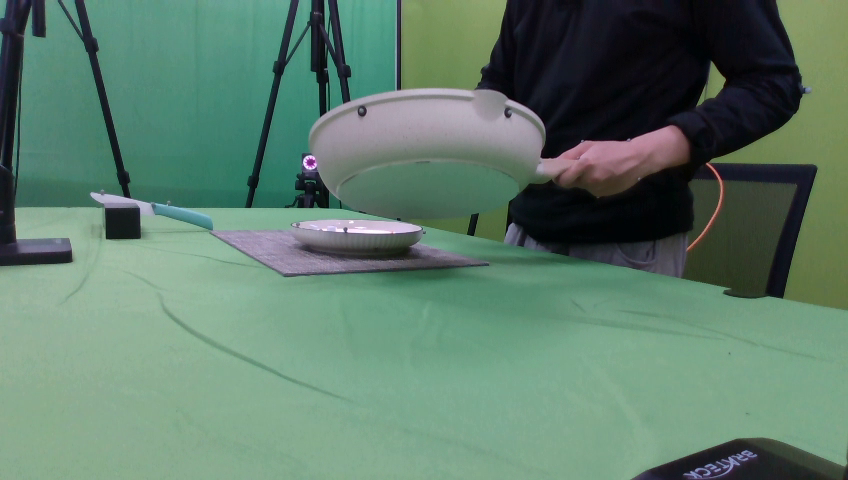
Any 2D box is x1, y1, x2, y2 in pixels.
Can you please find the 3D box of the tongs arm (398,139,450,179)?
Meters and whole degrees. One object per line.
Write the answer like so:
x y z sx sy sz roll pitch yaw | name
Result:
0.008 -0.129 0.917 0.051 0.026 0.385 -7 12 6 | tongs arm

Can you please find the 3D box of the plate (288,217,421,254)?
-0.109 -0.008 0.956 0.208 0.039 0.207 2 8 0 | plate

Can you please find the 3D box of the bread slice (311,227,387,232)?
-0.115 -0.005 0.950 0.134 0.018 0.107 4 6 -7 | bread slice

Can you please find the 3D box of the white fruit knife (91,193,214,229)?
-0.478 -0.055 1.077 0.208 0.027 0.016 14 -1 -30 | white fruit knife

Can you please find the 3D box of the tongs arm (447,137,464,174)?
0.045 -0.132 0.912 0.028 0.028 0.387 -11 11 7 | tongs arm

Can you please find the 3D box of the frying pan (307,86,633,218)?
0.096 -0.099 0.795 0.490 0.102 0.305 -4 -10 -28 | frying pan
